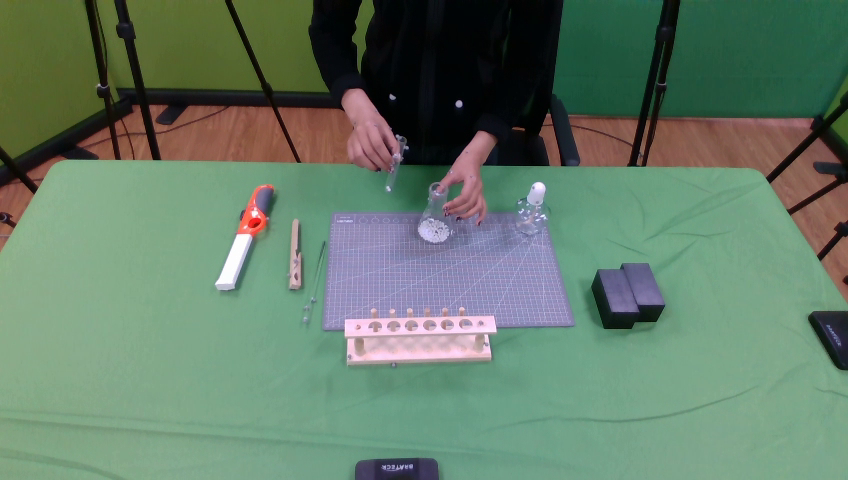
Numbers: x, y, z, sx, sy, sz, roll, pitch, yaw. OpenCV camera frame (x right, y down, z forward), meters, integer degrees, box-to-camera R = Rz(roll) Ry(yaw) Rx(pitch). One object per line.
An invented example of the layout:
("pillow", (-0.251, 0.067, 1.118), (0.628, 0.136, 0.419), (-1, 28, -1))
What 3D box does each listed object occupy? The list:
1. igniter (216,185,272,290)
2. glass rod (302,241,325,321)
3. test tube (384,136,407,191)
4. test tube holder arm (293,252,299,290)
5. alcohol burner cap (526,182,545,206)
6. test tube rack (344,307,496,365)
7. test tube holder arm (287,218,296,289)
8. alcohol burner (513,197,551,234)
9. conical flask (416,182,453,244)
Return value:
("igniter", (-0.347, -0.014, 1.182), (0.057, 0.025, 0.275), (-1, 45, 8))
("glass rod", (-0.203, 0.071, 1.124), (0.008, 0.008, 0.198), (4, 44, 1))
("test tube", (-0.054, -0.136, 1.108), (0.017, 0.151, 0.017), (7, 57, -11))
("test tube holder arm", (-0.241, 0.056, 1.131), (0.010, 0.015, 0.087), (25, 35, -33))
("alcohol burner cap", (0.222, -0.092, 1.190), (0.034, 0.048, 0.033), (2, 54, -3))
("test tube rack", (-0.009, 0.154, 1.007), (0.242, 0.085, 0.066), (-1, 46, -5))
("test tube holder arm", (-0.253, 0.022, 1.158), (0.013, 0.015, 0.177), (24, 36, -34))
("alcohol burner", (0.220, -0.069, 1.217), (0.078, 0.119, 0.077), (3, 47, -3))
("conical flask", (0.023, -0.056, 1.183), (0.075, 0.122, 0.075), (2, 46, -2))
